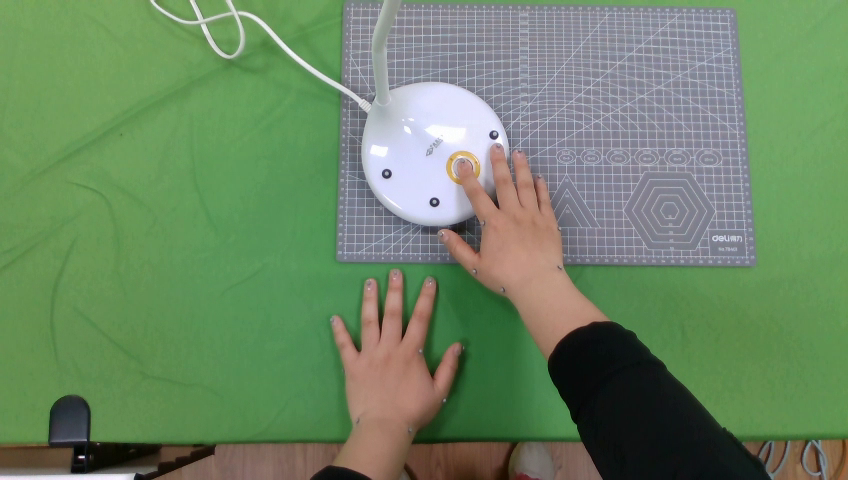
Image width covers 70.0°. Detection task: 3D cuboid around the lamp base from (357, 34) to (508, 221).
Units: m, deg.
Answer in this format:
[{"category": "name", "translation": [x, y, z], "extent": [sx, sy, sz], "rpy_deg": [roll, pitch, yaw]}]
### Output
[{"category": "lamp base", "translation": [-0.001, -0.117, 0.577], "extent": [0.179, 0.181, 0.160], "rpy_deg": [27, 81, 7]}]
